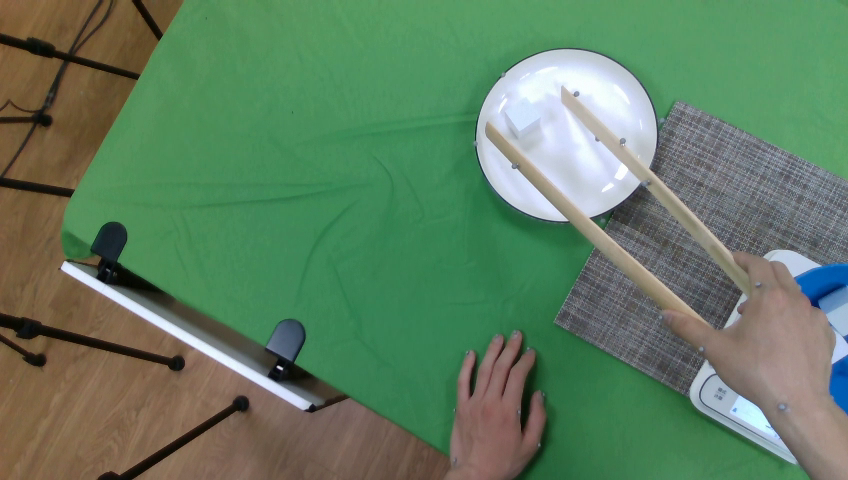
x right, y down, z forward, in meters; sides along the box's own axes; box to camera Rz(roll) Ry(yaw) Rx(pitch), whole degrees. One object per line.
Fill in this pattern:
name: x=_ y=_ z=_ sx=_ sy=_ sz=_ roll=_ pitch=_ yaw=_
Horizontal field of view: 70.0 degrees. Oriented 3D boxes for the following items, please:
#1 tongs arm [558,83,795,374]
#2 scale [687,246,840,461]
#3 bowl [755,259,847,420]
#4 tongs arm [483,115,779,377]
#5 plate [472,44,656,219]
tongs arm: x=0.224 y=-0.037 z=0.605 sx=0.051 sy=0.027 sz=0.380 roll=-24 pitch=54 yaw=-12
scale: x=0.394 y=0.120 z=0.653 sx=0.148 sy=0.032 sz=0.200 roll=29 pitch=88 yaw=10
bowl: x=0.398 y=0.097 z=0.601 sx=0.151 sy=0.077 sz=0.151 roll=-1 pitch=84 yaw=7
tongs arm: x=0.173 y=-0.013 z=0.594 sx=0.028 sy=0.028 sz=0.383 roll=-27 pitch=54 yaw=-18
plate: x=0.162 y=-0.125 z=0.713 sx=0.207 sy=0.039 sz=0.207 roll=-1 pitch=83 yaw=7
